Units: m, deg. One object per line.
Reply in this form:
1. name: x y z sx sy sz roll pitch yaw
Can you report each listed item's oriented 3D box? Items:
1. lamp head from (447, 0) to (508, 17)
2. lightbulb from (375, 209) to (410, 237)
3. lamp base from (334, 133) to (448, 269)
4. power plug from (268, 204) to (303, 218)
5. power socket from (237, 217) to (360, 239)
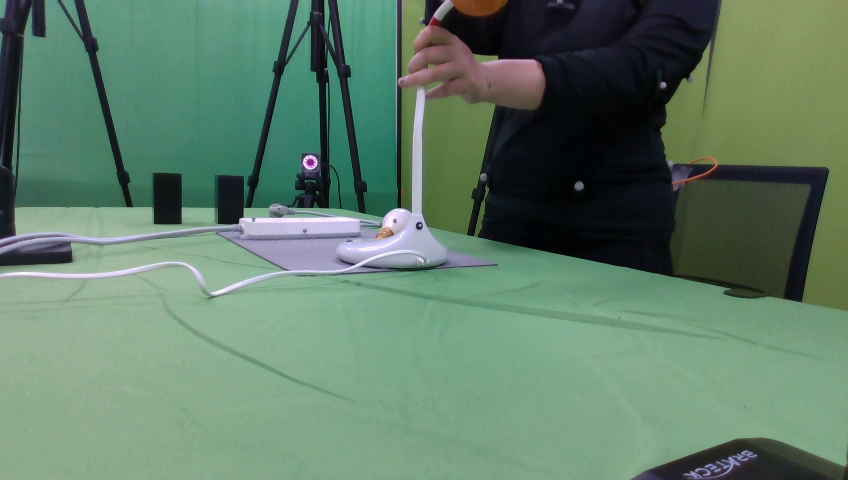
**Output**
1. lamp head: 0.061 -0.324 0.703 0.112 0.122 0.112 6 -3 1
2. lightbulb: -0.052 -0.016 1.023 0.059 0.059 0.108 6 23 21
3. lamp base: -0.034 -0.057 0.831 0.161 0.180 0.178 -3 12 -36
4. power plug: -0.327 -0.059 1.404 0.073 0.035 0.052 22 -14 -25
5. power socket: -0.221 -0.023 1.080 0.228 0.032 0.072 -2 8 -32
